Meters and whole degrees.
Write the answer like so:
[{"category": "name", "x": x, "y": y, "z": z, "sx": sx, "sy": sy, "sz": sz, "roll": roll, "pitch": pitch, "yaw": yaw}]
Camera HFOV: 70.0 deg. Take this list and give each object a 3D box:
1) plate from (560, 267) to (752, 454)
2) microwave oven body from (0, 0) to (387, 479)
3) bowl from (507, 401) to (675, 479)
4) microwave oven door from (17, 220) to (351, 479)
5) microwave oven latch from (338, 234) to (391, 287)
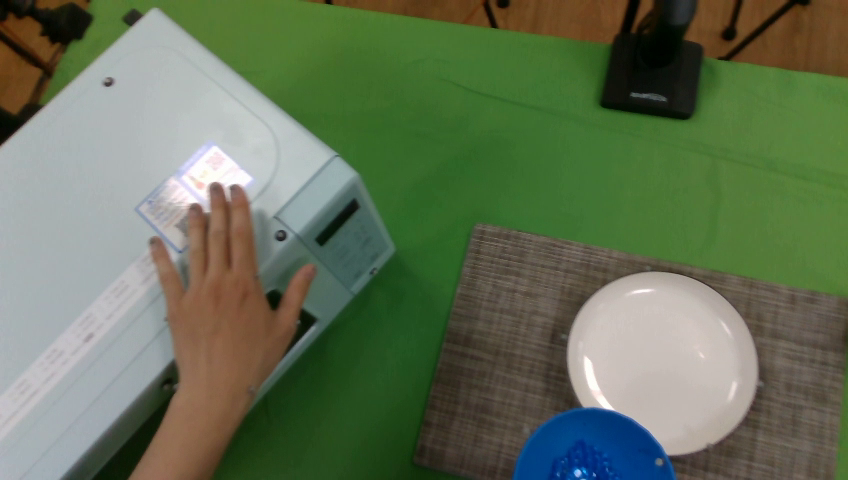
[{"category": "plate", "x": 0.258, "y": 0.135, "z": 0.690, "sx": 0.207, "sy": 0.039, "sz": 0.206, "roll": -2, "pitch": 73, "yaw": 5}, {"category": "microwave oven body", "x": -0.312, "y": 0.032, "z": 0.664, "sx": 0.324, "sy": 0.262, "sz": 0.441, "roll": 39, "pitch": 81, "yaw": 15}, {"category": "bowl", "x": 0.147, "y": 0.230, "z": 0.571, "sx": 0.151, "sy": 0.077, "sz": 0.150, "roll": 1, "pitch": 74, "yaw": -2}, {"category": "microwave oven door", "x": -0.231, "y": 0.149, "z": 0.614, "sx": 0.039, "sy": 0.245, "sz": 0.355, "roll": 39, "pitch": 80, "yaw": 17}, {"category": "microwave oven latch", "x": -0.075, "y": 0.019, "z": 0.745, "sx": 0.030, "sy": 0.030, "sz": 0.079, "roll": 41, "pitch": 82, "yaw": 15}]
